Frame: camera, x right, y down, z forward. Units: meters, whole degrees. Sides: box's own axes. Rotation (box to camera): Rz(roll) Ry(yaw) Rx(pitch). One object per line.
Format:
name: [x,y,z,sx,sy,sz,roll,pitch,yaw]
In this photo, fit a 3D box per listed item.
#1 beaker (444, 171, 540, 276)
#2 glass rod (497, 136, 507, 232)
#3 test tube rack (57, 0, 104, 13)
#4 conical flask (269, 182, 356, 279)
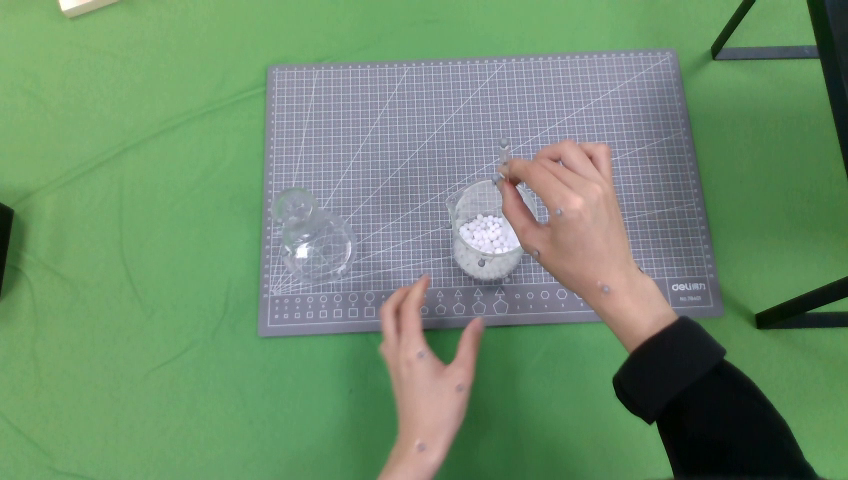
beaker: [0.058,-0.011,0.561,0.084,0.101,0.073,21,74,8]
glass rod: [0.064,-0.039,0.501,0.008,0.201,0.008,-2,73,6]
test tube rack: [-0.312,-0.345,0.672,0.242,0.085,0.066,-23,74,-6]
conical flask: [-0.106,-0.013,0.551,0.075,0.122,0.075,0,73,1]
